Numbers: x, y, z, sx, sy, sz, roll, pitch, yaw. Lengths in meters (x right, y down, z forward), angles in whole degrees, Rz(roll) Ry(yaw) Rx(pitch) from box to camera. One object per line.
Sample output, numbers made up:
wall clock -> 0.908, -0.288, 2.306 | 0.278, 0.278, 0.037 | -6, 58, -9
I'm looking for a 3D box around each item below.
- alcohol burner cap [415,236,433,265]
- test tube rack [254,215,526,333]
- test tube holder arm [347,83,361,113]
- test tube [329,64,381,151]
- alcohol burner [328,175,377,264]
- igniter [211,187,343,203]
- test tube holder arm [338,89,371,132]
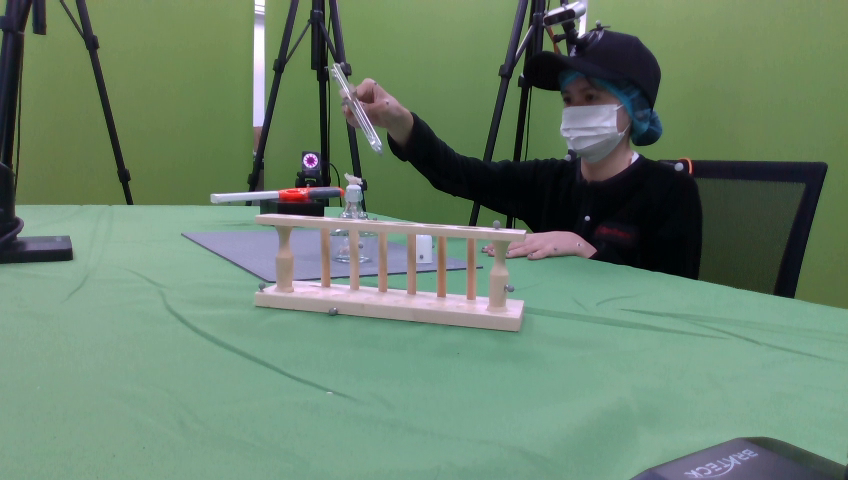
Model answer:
alcohol burner cap -> -0.004, 0.011, 0.835 | 0.034, 0.048, 0.034 | 2, 7, 0
test tube rack -> -0.030, 0.025, 0.557 | 0.242, 0.085, 0.067 | 4, 7, 12
test tube holder arm -> -0.106, -0.212, 0.915 | 0.010, 0.015, 0.088 | -29, -8, -6
test tube -> -0.101, -0.195, 0.889 | 0.017, 0.150, 0.017 | -27, -11, -5
alcohol burner -> -0.098, -0.028, 0.819 | 0.078, 0.119, 0.078 | 1, 8, 0
igniter -> -0.300, -0.095, 1.266 | 0.278, 0.025, 0.057 | -6, 12, -34
test tube holder arm -> -0.108, -0.203, 0.960 | 0.013, 0.015, 0.178 | -29, -8, 2
